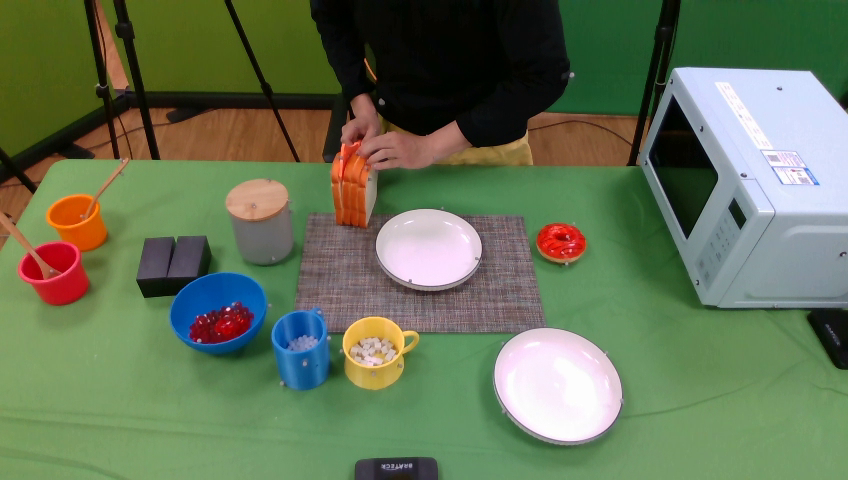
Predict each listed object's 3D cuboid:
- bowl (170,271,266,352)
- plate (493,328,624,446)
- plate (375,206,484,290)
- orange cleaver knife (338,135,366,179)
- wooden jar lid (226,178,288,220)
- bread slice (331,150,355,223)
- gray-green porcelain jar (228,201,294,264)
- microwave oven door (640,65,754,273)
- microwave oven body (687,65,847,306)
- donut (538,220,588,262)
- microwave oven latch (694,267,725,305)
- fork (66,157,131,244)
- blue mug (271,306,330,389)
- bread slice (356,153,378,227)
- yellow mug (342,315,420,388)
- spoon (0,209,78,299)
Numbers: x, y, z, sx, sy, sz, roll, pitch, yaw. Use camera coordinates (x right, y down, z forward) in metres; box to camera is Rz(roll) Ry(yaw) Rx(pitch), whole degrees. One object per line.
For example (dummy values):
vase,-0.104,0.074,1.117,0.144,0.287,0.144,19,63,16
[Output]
bowl,-0.333,0.132,1.006,0.151,0.077,0.150,2,46,-2
plate,0.213,0.236,0.974,0.208,0.039,0.206,2,46,-2
plate,0.009,0.019,1.160,0.209,0.038,0.208,2,47,-2
orange cleaver knife,-0.146,-0.173,1.242,0.012,0.077,0.211,6,18,5
wooden jar lid,-0.296,-0.070,1.081,0.108,0.021,0.107,1,45,0
bread slice,-0.162,-0.115,1.216,0.019,0.132,0.104,2,41,7
gray-green porcelain jar,-0.299,-0.027,1.126,0.106,0.127,0.105,2,46,-2
microwave oven door,0.523,-0.147,1.193,0.039,0.245,0.353,0,47,-3
microwave oven body,0.669,-0.111,1.176,0.326,0.261,0.439,0,46,-3
donut,0.273,0.000,1.198,0.099,0.048,0.098,1,46,0
microwave oven latch,0.523,0.082,1.115,0.030,0.029,0.078,3,46,0
fork,-0.608,-0.074,1.132,0.207,0.019,0.028,-52,49,10
blue mug,-0.188,0.163,0.969,0.082,0.106,0.116,15,47,10
bread slice,-0.113,-0.105,1.212,0.018,0.135,0.106,12,47,3
yellow mug,-0.068,0.177,0.990,0.131,0.064,0.099,-15,50,-19
spoon,-0.668,0.022,1.040,0.041,0.021,0.194,-41,105,-30
